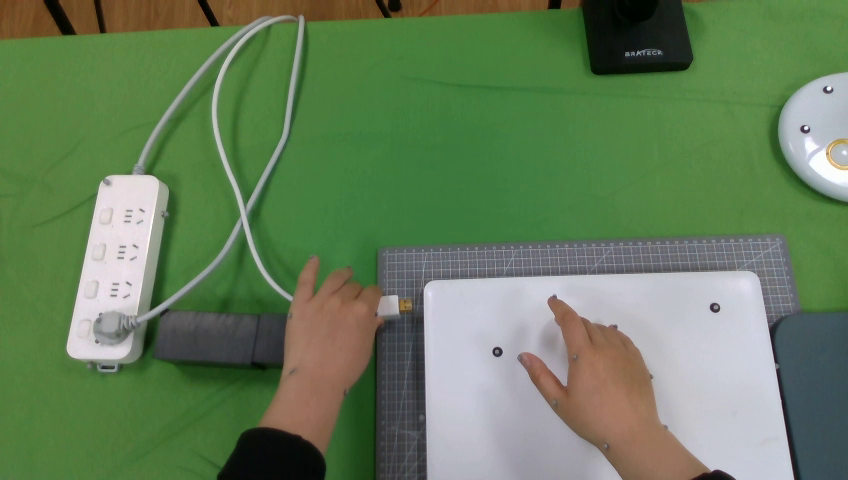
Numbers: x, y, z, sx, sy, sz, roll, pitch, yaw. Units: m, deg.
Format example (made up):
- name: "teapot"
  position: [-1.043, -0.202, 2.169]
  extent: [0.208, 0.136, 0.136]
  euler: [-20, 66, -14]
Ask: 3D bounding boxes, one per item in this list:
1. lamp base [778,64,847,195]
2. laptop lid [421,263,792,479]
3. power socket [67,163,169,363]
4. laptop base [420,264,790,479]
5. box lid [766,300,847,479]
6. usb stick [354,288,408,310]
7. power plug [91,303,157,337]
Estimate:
- name: "lamp base"
  position: [0.488, -0.159, 0.619]
  extent: [0.160, 0.181, 0.178]
  euler: [31, 74, 11]
- name: "laptop lid"
  position: [0.174, 0.142, 0.608]
  extent: [0.357, 0.013, 0.240]
  euler: [0, 75, 2]
- name: "power socket"
  position: [-0.333, 0.020, 0.666]
  extent: [0.072, 0.033, 0.225]
  euler: [2, 73, 1]
- name: "laptop base"
  position: [0.175, 0.143, 0.620]
  extent: [0.354, 0.023, 0.234]
  euler: [-2, 76, 1]
- name: "box lid"
  position: [0.491, 0.237, 0.584]
  extent: [0.263, 0.015, 0.369]
  euler: [-2, 73, 0]
- name: "usb stick"
  position: [-0.042, 0.062, 0.635]
  extent: [0.059, 0.027, 0.021]
  euler: [-3, 78, 21]
- name: "power plug"
  position: [-0.306, 0.086, 0.624]
  extent: [0.072, 0.053, 0.035]
  euler: [12, 73, 4]
